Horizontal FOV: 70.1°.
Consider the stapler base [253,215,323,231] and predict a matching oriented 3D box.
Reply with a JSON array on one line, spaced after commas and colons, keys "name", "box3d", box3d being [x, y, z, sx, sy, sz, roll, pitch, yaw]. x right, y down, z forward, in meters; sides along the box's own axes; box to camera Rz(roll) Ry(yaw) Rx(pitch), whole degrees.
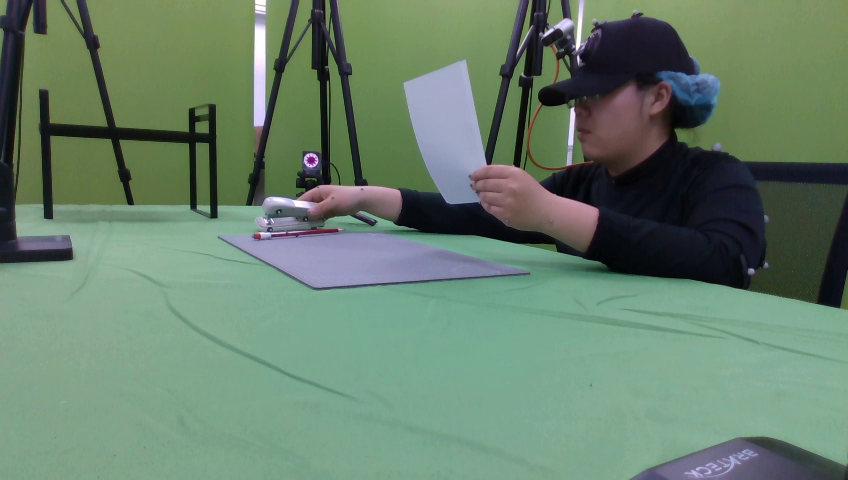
[{"name": "stapler base", "box3d": [-0.256, -0.042, 1.148, 0.131, 0.024, 0.041, -6, 43, -34]}]

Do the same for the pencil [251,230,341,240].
[{"name": "pencil", "box3d": [-0.215, -0.011, 1.049, 0.012, 0.012, 0.195, 9, 9, 39]}]

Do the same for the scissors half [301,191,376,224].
[{"name": "scissors half", "box3d": [-0.189, -0.073, 1.334, 0.175, 0.013, 0.040, 22, 12, -10]}]

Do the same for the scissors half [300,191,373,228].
[{"name": "scissors half", "box3d": [-0.191, -0.068, 1.314, 0.175, 0.013, 0.040, 26, 17, 7]}]

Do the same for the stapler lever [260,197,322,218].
[{"name": "stapler lever", "box3d": [-0.248, -0.062, 1.135, 0.119, 0.040, 0.026, -6, 43, -34]}]
